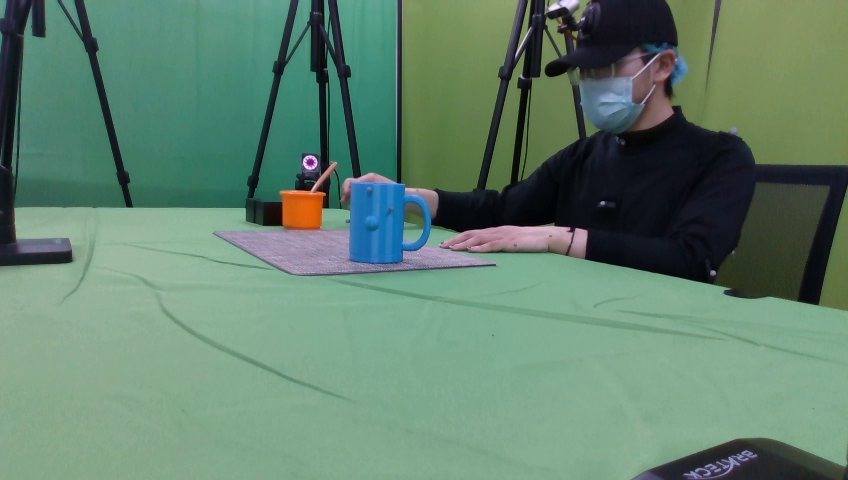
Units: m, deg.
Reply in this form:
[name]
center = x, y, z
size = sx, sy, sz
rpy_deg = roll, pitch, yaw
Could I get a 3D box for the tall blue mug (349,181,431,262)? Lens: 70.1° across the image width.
[tall blue mug]
center = -0.051, -0.028, 0.849
size = 0.108, 0.108, 0.077
rpy_deg = -1, 7, -22

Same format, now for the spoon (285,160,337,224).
[spoon]
center = -0.229, -0.101, 1.251
size = 0.041, 0.194, 0.022
rpy_deg = 4, -37, 34
